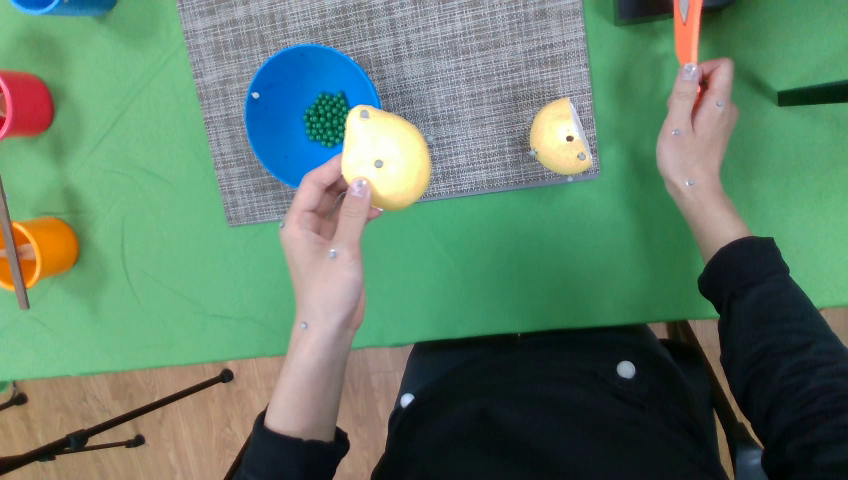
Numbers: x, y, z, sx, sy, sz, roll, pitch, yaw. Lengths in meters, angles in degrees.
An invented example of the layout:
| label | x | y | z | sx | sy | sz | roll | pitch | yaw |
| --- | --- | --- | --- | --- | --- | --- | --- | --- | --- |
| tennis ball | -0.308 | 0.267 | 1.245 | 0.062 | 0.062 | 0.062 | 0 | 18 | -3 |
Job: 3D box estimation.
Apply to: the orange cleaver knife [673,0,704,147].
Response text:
| label | x | y | z | sx | sy | sz | roll | pitch | yaw |
| --- | --- | --- | --- | --- | --- | --- | --- | --- | --- |
| orange cleaver knife | 0.240 | -0.177 | 0.555 | 0.012 | 0.076 | 0.214 | -14 | 140 | 12 |

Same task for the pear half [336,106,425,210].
| label | x | y | z | sx | sy | sz | roll | pitch | yaw |
| --- | --- | --- | --- | --- | --- | --- | --- | --- | --- |
| pear half | -0.031 | -0.063 | 0.468 | 0.070 | 0.031 | 0.089 | -40 | 118 | -15 |

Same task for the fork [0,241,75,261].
| label | x | y | z | sx | sy | sz | roll | pitch | yaw |
| --- | --- | --- | --- | --- | --- | --- | --- | --- | --- |
| fork | -0.556 | 0.014 | 0.754 | 0.208 | 0.018 | 0.028 | 1 | 118 | -33 |

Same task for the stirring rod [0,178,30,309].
| label | x | y | z | sx | sy | sz | roll | pitch | yaw |
| --- | --- | --- | --- | --- | --- | --- | --- | --- | --- |
| stirring rod | -0.507 | 0.000 | 0.739 | 0.014 | 0.006 | 0.177 | -3 | 102 | 10 |

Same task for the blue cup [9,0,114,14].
| label | x | y | z | sx | sy | sz | roll | pitch | yaw |
| --- | --- | --- | --- | --- | --- | --- | --- | --- | --- |
| blue cup | -0.402 | -0.293 | 0.677 | 0.092 | 0.100 | 0.093 | 2 | 104 | 10 |

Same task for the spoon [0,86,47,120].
| label | x | y | z | sx | sy | sz | roll | pitch | yaw |
| --- | --- | --- | --- | --- | --- | --- | --- | --- | --- |
| spoon | -0.562 | -0.161 | 0.720 | 0.194 | 0.021 | 0.042 | -9 | 105 | -30 |

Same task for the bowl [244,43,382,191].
| label | x | y | z | sx | sy | sz | roll | pitch | yaw |
| --- | --- | --- | --- | --- | --- | --- | --- | --- | --- |
| bowl | -0.109 | -0.133 | 0.661 | 0.151 | 0.076 | 0.152 | 3 | 103 | 12 |

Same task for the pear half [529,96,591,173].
| label | x | y | z | sx | sy | sz | roll | pitch | yaw |
| --- | --- | --- | --- | --- | --- | --- | --- | --- | --- |
| pear half | 0.132 | -0.100 | 0.600 | 0.056 | 0.110 | 0.076 | -26 | 92 | 17 |
